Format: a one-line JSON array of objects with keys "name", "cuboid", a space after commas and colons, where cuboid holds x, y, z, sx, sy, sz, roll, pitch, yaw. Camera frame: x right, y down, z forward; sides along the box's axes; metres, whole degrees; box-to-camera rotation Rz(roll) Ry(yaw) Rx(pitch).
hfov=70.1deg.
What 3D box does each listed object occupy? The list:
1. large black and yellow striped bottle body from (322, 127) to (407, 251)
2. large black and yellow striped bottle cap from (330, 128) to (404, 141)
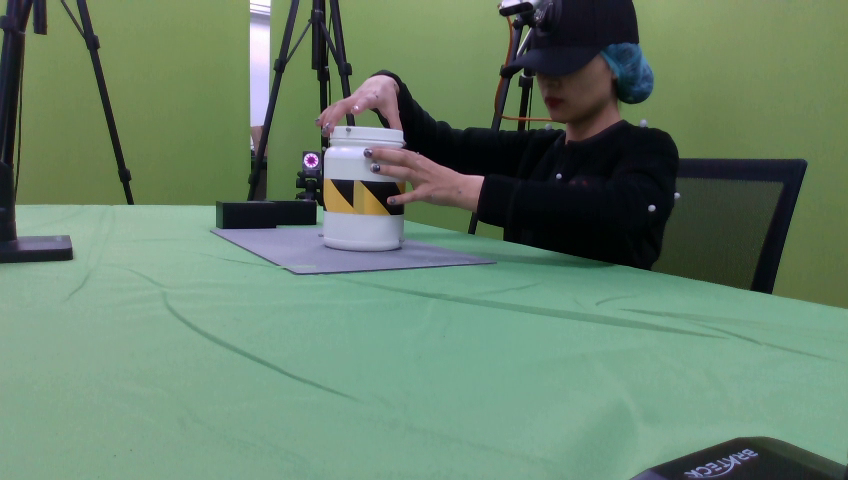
[{"name": "large black and yellow striped bottle body", "cuboid": [-0.094, -0.081, 0.951, 0.131, 0.184, 0.130, 3, 7, 0]}, {"name": "large black and yellow striped bottle cap", "cuboid": [-0.088, -0.164, 0.940, 0.115, 0.019, 0.115, 1, 8, 0]}]
